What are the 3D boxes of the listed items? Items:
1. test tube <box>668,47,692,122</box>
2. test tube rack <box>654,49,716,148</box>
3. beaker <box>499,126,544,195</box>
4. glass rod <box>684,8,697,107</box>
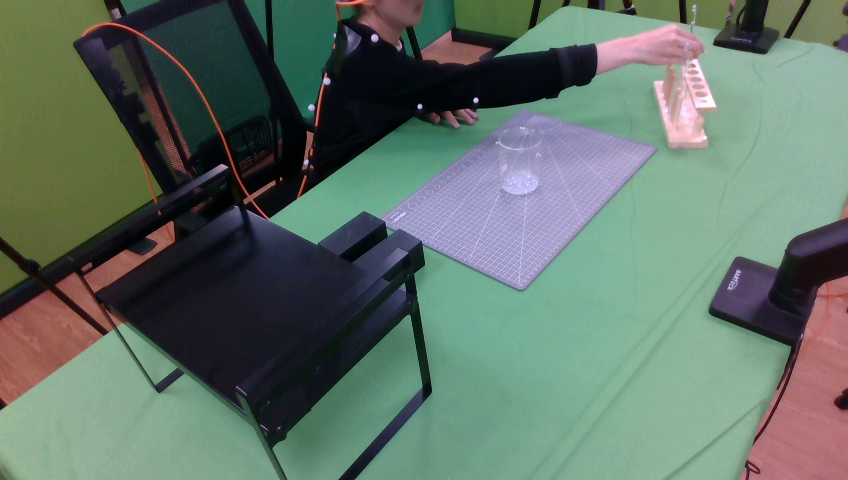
[{"bbox_3d":[0.472,-0.285,1.117,0.017,0.151,0.017,-3,44,4],"label":"test tube"},{"bbox_3d":[0.502,-0.281,1.176,0.066,0.085,0.241,1,41,11],"label":"test tube rack"},{"bbox_3d":[0.170,-0.136,1.045,0.073,0.101,0.084,12,44,21],"label":"beaker"},{"bbox_3d":[0.502,-0.340,1.142,0.008,0.201,0.008,-8,42,8],"label":"glass rod"}]
